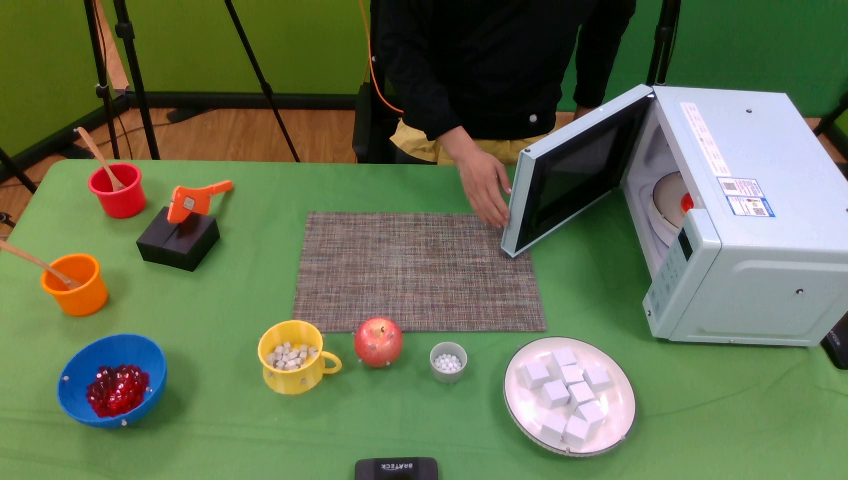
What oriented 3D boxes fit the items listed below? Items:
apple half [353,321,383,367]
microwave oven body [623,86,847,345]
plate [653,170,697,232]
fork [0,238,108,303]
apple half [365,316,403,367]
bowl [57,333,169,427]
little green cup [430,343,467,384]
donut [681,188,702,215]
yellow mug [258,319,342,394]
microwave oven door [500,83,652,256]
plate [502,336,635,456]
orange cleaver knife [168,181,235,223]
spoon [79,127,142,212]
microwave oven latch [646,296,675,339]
[{"bbox_3d":[-0.097,0.177,0.984,0.033,0.081,0.081,-17,49,-25],"label":"apple half"},{"bbox_3d":[0.567,-0.053,1.118,0.326,0.261,0.439,2,45,-1],"label":"microwave oven body"},{"bbox_3d":[0.555,-0.059,1.196,0.209,0.038,0.208,2,46,-2],"label":"plate"},{"bbox_3d":[-0.633,0.048,1.017,0.208,0.018,0.028,40,41,-27],"label":"fork"},{"bbox_3d":[-0.063,0.165,1.000,0.053,0.075,0.080,-16,45,-24],"label":"apple half"},{"bbox_3d":[-0.456,0.223,0.912,0.151,0.077,0.150,3,45,-2],"label":"bowl"},{"bbox_3d":[0.039,0.203,0.993,0.061,0.039,0.061,2,46,-2],"label":"little green cup"},{"bbox_3d":[0.554,-0.065,1.185,0.099,0.048,0.098,1,45,-1],"label":"donut"},{"bbox_3d":[-0.195,0.188,0.972,0.131,0.064,0.099,9,47,4],"label":"yellow mug"},{"bbox_3d":[0.298,-0.140,1.176,0.356,0.245,0.039,-31,56,-29],"label":"microwave oven door"},{"bbox_3d":[0.225,0.248,0.963,0.208,0.039,0.206,2,46,-2],"label":"plate"},{"bbox_3d":[-0.436,-0.078,1.196,0.012,0.077,0.211,16,15,10],"label":"orange cleaver knife"},{"bbox_3d":[-0.624,-0.140,1.203,0.041,0.021,0.194,-33,100,-26],"label":"spoon"},{"bbox_3d":[0.412,0.134,1.061,0.030,0.029,0.078,4,45,1],"label":"microwave oven latch"}]
